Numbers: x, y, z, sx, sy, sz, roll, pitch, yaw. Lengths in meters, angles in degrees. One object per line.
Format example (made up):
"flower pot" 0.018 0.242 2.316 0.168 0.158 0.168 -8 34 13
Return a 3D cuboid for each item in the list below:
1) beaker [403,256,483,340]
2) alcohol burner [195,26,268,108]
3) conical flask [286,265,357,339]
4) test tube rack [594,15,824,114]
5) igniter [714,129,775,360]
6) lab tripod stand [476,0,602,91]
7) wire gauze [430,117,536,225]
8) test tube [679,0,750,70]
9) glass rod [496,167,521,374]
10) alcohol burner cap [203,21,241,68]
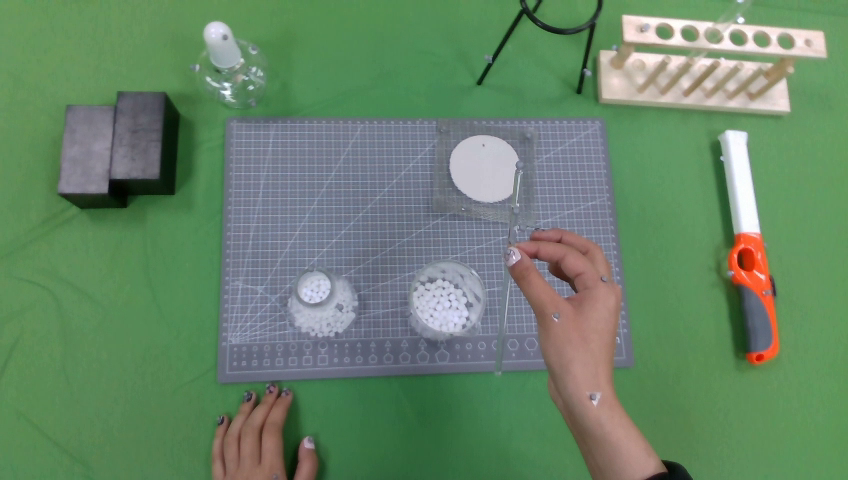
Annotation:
"beaker" 0.018 0.066 0.622 0.074 0.100 0.083 -37 82 -12
"alcohol burner" -0.213 -0.194 0.658 0.078 0.119 0.077 1 77 -3
"conical flask" -0.106 0.056 0.601 0.075 0.122 0.075 1 76 -5
"test tube rack" 0.338 -0.208 0.729 0.243 0.085 0.066 3 75 -5
"igniter" 0.376 0.001 0.712 0.057 0.025 0.275 3 76 -15
"lab tripod stand" 0.134 -0.238 0.692 0.148 0.132 0.147 1 78 -5
"wire gauze" 0.071 -0.083 0.711 0.125 0.011 0.121 7 76 -6
"test tube" 0.326 -0.235 0.683 0.017 0.151 0.017 1 76 -2
"glass rod" 0.067 0.034 0.488 0.008 0.008 0.201 0 121 0
"alcohol burner cap" -0.210 -0.205 0.624 0.034 0.048 0.033 2 70 -5
